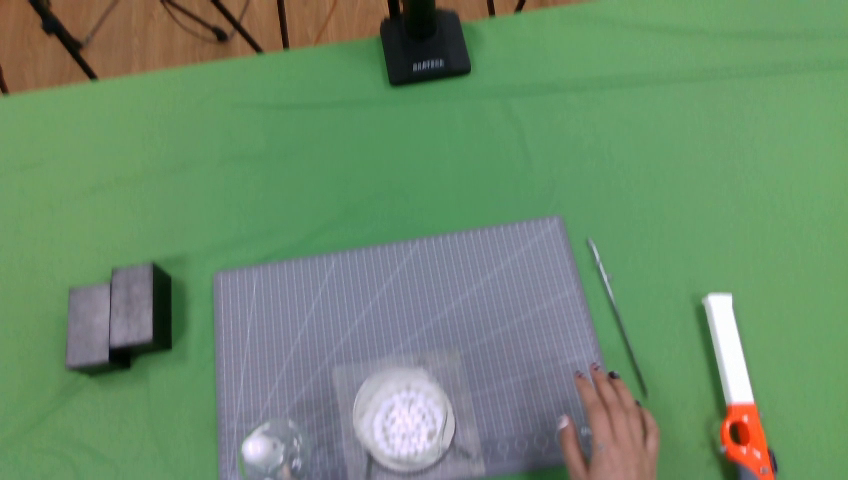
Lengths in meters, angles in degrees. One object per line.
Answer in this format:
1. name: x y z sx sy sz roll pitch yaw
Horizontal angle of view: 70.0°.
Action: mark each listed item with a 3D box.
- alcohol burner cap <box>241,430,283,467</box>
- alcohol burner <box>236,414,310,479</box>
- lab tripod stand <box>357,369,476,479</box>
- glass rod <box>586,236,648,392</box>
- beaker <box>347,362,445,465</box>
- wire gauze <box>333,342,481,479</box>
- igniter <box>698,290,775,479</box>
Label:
1. alcohol burner cap: -0.162 0.204 0.595 0.034 0.048 0.033 -2 64 4
2. alcohol burner: -0.161 0.218 0.629 0.078 0.120 0.077 -1 65 2
3. lab tripod stand: -0.016 0.192 0.622 0.148 0.132 0.147 -2 67 4
4. glass rod: 0.230 0.084 0.726 0.008 0.008 0.198 -13 68 -3
5. beaker: -0.017 0.153 0.514 0.074 0.101 0.083 -40 70 -13
6. wire gauze: -0.019 0.163 0.563 0.125 0.011 0.120 -11 66 0
7. igniter: 0.346 0.188 0.669 0.057 0.025 0.274 2 67 -8
